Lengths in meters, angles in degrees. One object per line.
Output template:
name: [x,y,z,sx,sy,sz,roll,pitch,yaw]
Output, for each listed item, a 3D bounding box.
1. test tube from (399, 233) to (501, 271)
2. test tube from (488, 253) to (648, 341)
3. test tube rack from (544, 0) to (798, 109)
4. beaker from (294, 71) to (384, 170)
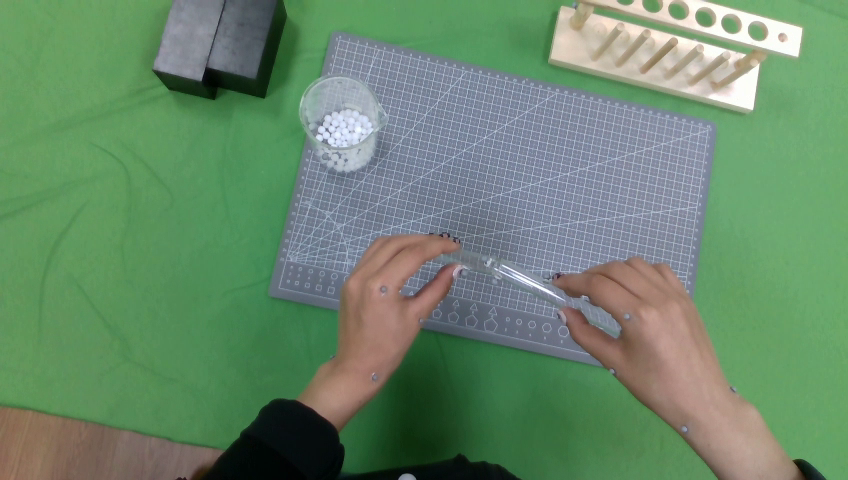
test tube: [0.018,0.009,0.539,0.017,0.149,0.017,-5,100,-30]
test tube: [0.118,0.048,0.488,0.151,0.017,0.017,25,80,-13]
test tube rack: [0.265,-0.217,0.665,0.243,0.085,0.066,13,81,-3]
beaker: [-0.083,-0.115,0.609,0.084,0.100,0.074,5,82,-5]
